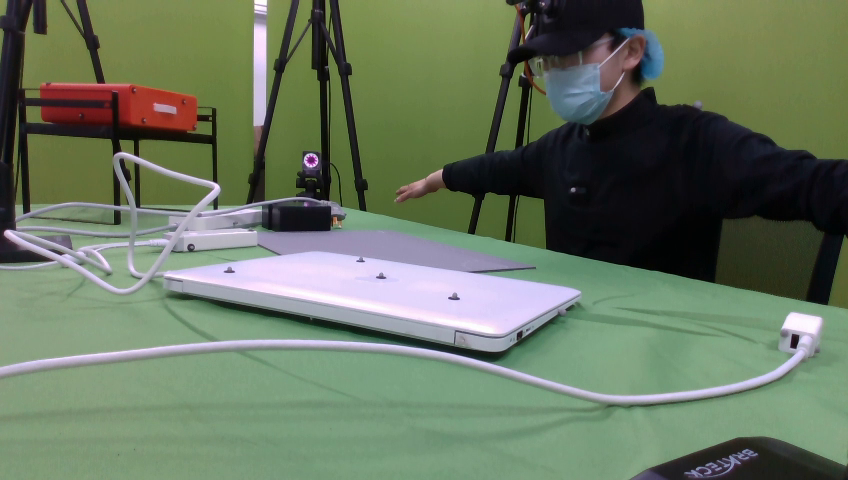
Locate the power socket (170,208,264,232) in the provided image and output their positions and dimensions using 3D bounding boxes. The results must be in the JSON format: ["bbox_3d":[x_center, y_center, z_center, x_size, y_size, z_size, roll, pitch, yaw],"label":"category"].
[{"bbox_3d":[-0.381,-0.038,1.129,0.072,0.032,0.227,4,8,15],"label":"power socket"}]

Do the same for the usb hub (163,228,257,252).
[{"bbox_3d":[-0.313,-0.001,0.894,0.049,0.025,0.126,9,10,41],"label":"usb hub"}]

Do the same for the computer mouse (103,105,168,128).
[{"bbox_3d":[-0.582,-0.249,1.223,0.118,0.041,0.062,2,3,-39],"label":"computer mouse"}]

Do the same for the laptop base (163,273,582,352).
[{"bbox_3d":[-0.046,0.052,0.598,0.353,0.023,0.236,7,6,28],"label":"laptop base"}]

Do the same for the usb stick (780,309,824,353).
[{"bbox_3d":[0.311,0.072,0.496,0.027,0.021,0.059,7,15,34],"label":"usb stick"}]

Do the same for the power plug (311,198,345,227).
[{"bbox_3d":[-0.195,-0.053,1.220,0.073,0.052,0.035,4,-22,-21],"label":"power plug"}]

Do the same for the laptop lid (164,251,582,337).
[{"bbox_3d":[-0.045,0.040,0.599,0.355,0.013,0.243,7,7,30],"label":"laptop lid"}]

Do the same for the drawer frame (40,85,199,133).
[{"bbox_3d":[-0.612,-0.266,1.235,0.213,0.082,0.202,4,8,14],"label":"drawer frame"}]

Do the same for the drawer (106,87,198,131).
[{"bbox_3d":[-0.609,-0.264,1.235,0.211,0.073,0.195,4,8,16],"label":"drawer"}]
